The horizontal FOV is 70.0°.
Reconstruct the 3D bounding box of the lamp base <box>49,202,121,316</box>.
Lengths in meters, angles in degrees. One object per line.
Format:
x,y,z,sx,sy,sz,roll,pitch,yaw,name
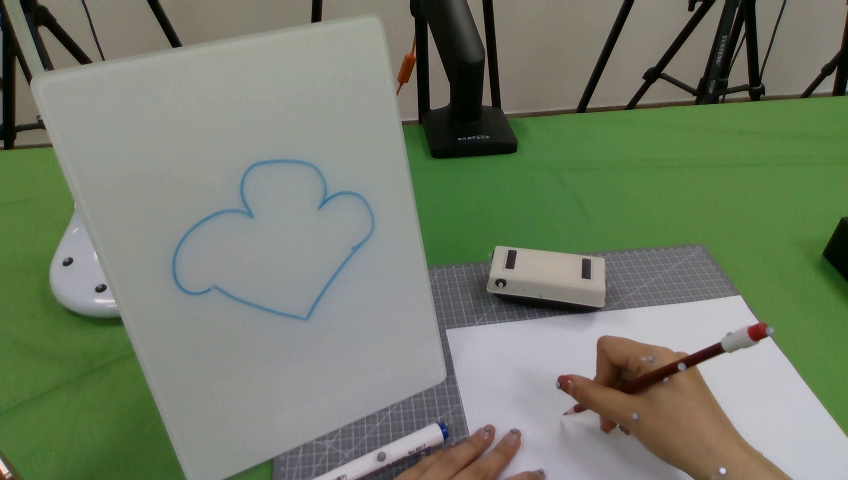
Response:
-0.314,-0.043,0.592,0.178,0.182,0.160,22,44,28,lamp base

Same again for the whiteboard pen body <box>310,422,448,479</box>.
-0.045,0.169,0.450,0.141,0.017,0.017,-19,42,-20,whiteboard pen body

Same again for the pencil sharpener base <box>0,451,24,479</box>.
-0.283,0.181,0.373,0.061,0.108,0.076,29,48,31,pencil sharpener base

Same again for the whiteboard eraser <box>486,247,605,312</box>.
0.120,0.039,0.596,0.112,0.042,0.055,7,41,9,whiteboard eraser

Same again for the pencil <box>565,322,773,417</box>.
0.155,0.097,0.418,0.012,0.194,0.012,13,56,-20,pencil

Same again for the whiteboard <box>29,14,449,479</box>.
-0.127,0.000,0.487,0.218,0.307,0.142,-19,23,-20,whiteboard
